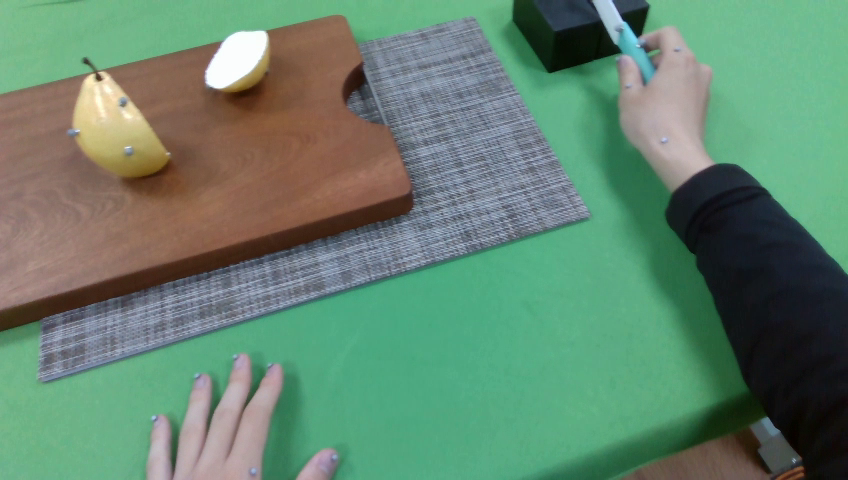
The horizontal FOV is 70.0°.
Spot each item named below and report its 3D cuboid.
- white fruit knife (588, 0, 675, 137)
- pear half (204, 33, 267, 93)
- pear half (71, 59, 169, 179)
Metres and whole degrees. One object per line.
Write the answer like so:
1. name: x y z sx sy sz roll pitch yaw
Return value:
1. white fruit knife: 0.182 -0.192 0.570 0.016 0.027 0.206 -21 78 -17
2. pear half: -0.176 -0.167 0.583 0.070 0.031 0.087 -26 42 4
3. pear half: -0.260 -0.096 0.493 0.075 0.111 0.056 32 63 28
